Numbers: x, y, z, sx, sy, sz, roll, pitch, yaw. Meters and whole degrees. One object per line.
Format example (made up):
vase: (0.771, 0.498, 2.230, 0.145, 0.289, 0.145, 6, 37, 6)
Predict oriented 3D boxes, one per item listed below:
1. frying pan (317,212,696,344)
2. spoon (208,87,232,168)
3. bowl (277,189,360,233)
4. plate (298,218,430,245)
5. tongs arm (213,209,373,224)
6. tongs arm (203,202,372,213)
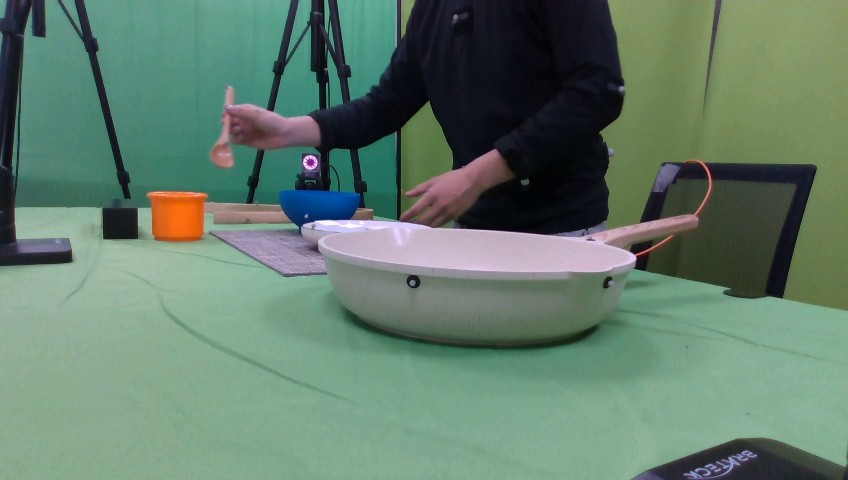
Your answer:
frying pan: (0.133, 0.013, 0.629, 0.490, 0.102, 0.305, -12, 14, -31)
spoon: (-0.364, -0.208, 1.104, 0.042, 0.193, 0.021, 16, -33, -31)
bowl: (-0.195, -0.052, 1.117, 0.151, 0.077, 0.151, 2, 7, 0)
plate: (-0.091, -0.006, 0.949, 0.208, 0.039, 0.207, 2, 7, 0)
tongs arm: (-0.274, -0.053, 1.347, 0.390, 0.028, 0.028, -3, 7, -37)
tongs arm: (-0.312, -0.069, 1.417, 0.387, 0.026, 0.050, 0, 9, -24)
